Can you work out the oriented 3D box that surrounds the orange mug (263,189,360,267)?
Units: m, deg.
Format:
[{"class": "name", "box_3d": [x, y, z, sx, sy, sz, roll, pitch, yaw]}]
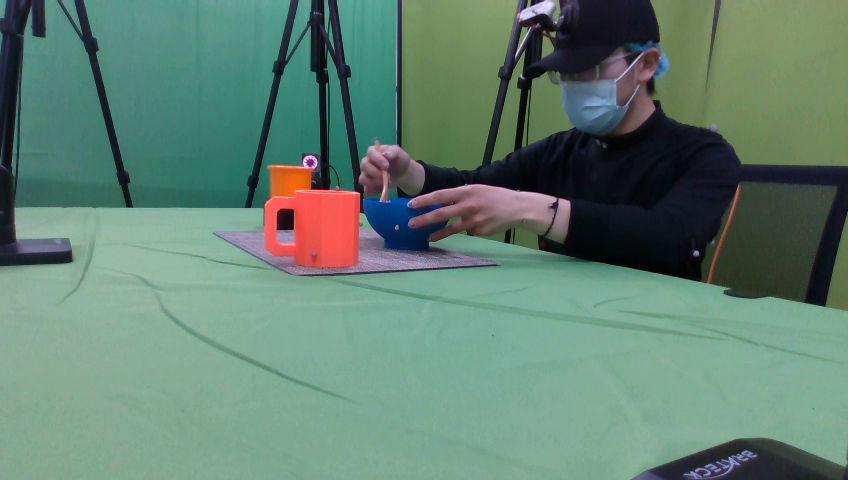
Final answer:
[{"class": "orange mug", "box_3d": [-0.147, -0.019, 0.794, 0.127, 0.100, 0.083, 5, 6, -19]}]

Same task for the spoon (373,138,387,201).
[{"class": "spoon", "box_3d": [-0.069, -0.099, 1.017, 0.022, 0.193, 0.041, 2, -36, -14]}]

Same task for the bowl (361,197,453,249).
[{"class": "bowl", "box_3d": [-0.028, -0.029, 0.991, 0.151, 0.077, 0.151, 2, 7, 0]}]
